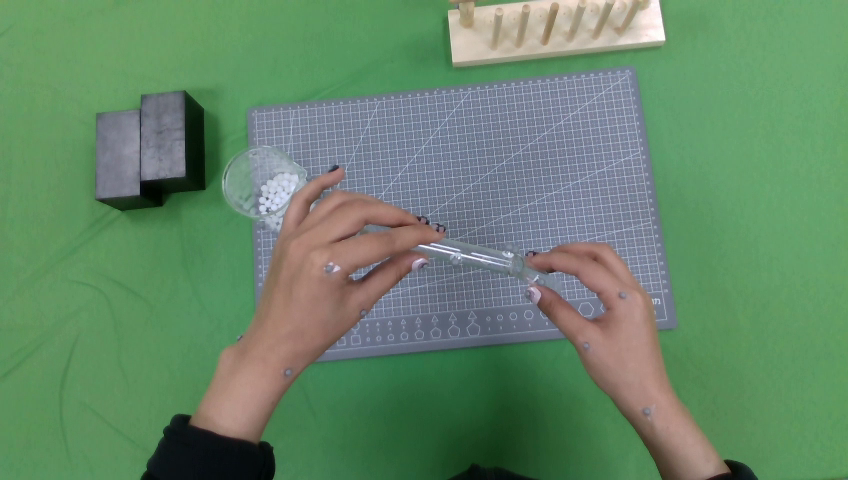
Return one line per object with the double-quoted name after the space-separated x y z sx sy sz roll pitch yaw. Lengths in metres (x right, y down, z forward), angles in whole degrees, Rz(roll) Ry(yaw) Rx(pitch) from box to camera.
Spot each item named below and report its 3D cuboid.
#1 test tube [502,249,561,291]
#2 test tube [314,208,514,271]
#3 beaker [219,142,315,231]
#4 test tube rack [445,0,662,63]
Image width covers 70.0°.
0.090 0.027 0.488 0.017 0.151 0.017 -4 78 23 "test tube"
-0.010 -0.001 0.433 0.150 0.017 0.017 13 80 14 "test tube"
-0.157 -0.052 0.639 0.084 0.100 0.073 -13 80 0 "beaker"
0.146 -0.257 0.668 0.242 0.085 0.066 -5 80 2 "test tube rack"
